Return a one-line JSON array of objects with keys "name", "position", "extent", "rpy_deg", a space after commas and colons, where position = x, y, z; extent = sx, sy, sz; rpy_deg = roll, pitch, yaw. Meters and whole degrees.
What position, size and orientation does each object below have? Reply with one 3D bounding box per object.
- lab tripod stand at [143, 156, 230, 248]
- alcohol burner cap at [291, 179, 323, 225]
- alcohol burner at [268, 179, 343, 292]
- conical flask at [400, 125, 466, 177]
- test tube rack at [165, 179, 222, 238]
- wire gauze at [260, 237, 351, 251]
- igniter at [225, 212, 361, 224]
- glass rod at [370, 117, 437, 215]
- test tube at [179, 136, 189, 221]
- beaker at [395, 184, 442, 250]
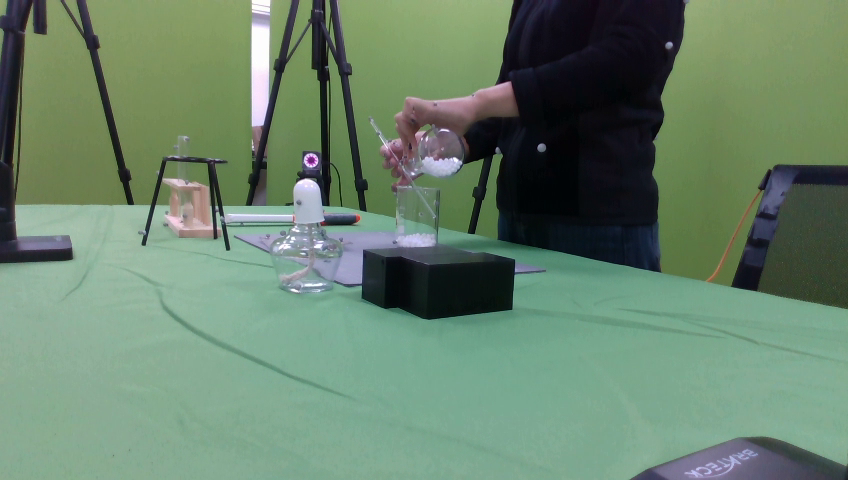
[{"name": "lab tripod stand", "position": [-0.338, -0.058, 0.908], "extent": [0.148, 0.131, 0.148], "rpy_deg": [4, 7, 0]}, {"name": "alcohol burner cap", "position": [-0.124, -0.040, 0.632], "extent": [0.034, 0.048, 0.034], "rpy_deg": [-3, 10, 1]}, {"name": "alcohol burner", "position": [-0.124, -0.005, 0.637], "extent": [0.078, 0.119, 0.078], "rpy_deg": [4, 8, 0]}, {"name": "conical flask", "position": [0.005, -0.125, 0.908], "extent": [0.076, 0.075, 0.121], "rpy_deg": [-1, -2, -25]}, {"name": "test tube rack", "position": [-0.423, -0.062, 1.098], "extent": [0.067, 0.085, 0.241], "rpy_deg": [-2, 9, -28]}, {"name": "wire gauze", "position": [-0.185, 0.004, 0.938], "extent": [0.122, 0.011, 0.124], "rpy_deg": [-1, 5, -24]}, {"name": "igniter", "position": [-0.262, -0.045, 1.240], "extent": [0.278, 0.025, 0.057], "rpy_deg": [-2, -1, -31]}, {"name": "glass rod", "position": [-0.035, -0.120, 0.970], "extent": [0.008, 0.199, 0.008], "rpy_deg": [-31, -14, -8]}, {"name": "test tube", "position": [-0.425, -0.108, 1.070], "extent": [0.017, 0.150, 0.017], "rpy_deg": [4, 9, 0]}, {"name": "beaker", "position": [-0.009, -0.038, 0.968], "extent": [0.074, 0.100, 0.084], "rpy_deg": [6, 8, 21]}]
